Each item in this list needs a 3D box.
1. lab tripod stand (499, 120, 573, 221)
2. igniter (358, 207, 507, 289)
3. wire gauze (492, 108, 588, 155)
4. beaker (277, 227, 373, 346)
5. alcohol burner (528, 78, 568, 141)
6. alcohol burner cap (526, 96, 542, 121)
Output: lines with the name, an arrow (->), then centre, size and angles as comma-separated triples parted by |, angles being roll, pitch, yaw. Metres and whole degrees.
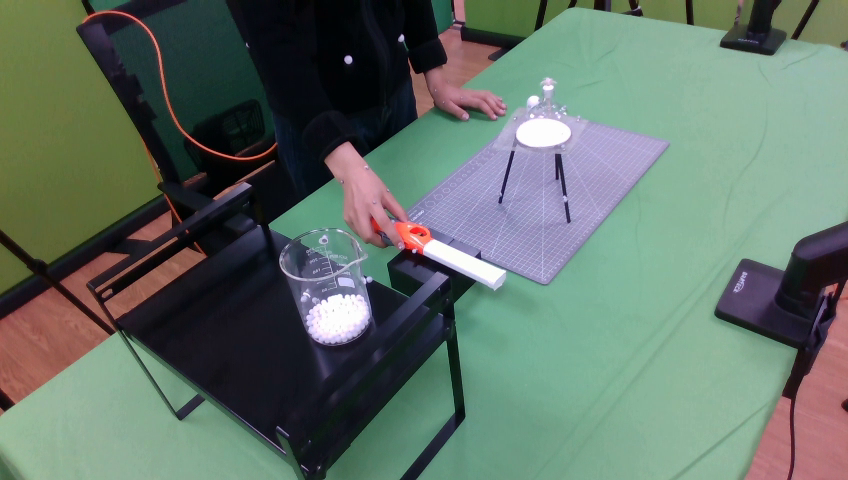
lab tripod stand -> 0.198, -0.117, 0.992 | 0.148, 0.132, 0.147 | -3, 40, 3
igniter -> 0.001, 0.006, 0.889 | 0.274, 0.025, 0.057 | 25, 46, 33
wire gauze -> 0.185, -0.170, 0.953 | 0.121, 0.011, 0.125 | 13, 44, 22
beaker -> -0.090, 0.048, 0.593 | 0.084, 0.101, 0.073 | -3, 41, 5
alcohol burner -> 0.238, -0.253, 1.163 | 0.078, 0.119, 0.077 | -6, 40, 6
alcohol burner cap -> 0.225, -0.272, 1.243 | 0.034, 0.048, 0.033 | -5, 41, 5
